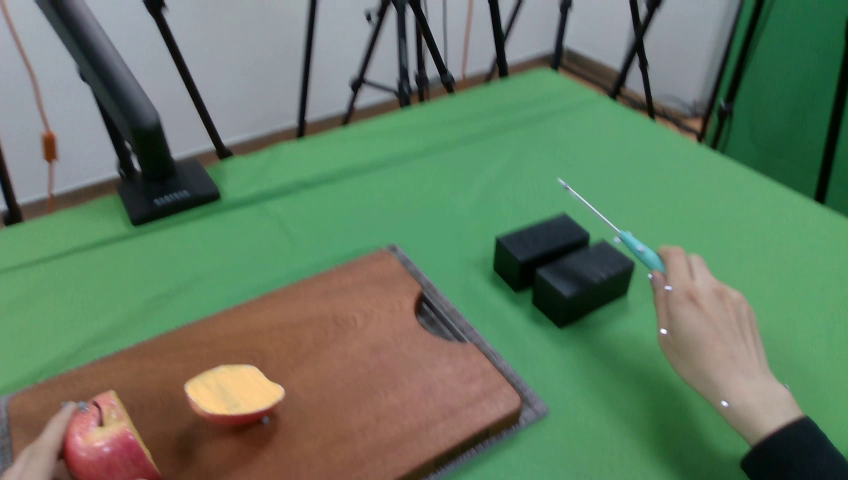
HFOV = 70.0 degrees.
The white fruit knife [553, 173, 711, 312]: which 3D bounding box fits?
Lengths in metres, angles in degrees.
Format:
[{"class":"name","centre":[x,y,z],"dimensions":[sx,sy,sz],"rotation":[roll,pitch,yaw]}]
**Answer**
[{"class":"white fruit knife","centre":[0.199,-0.005,0.603],"dimensions":[0.016,0.028,0.205],"rotation":[-47,60,7]}]

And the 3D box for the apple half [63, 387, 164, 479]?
[{"class":"apple half","centre":[-0.246,0.164,0.472],"dimensions":[0.053,0.075,0.080],"rotation":[-33,51,-27]}]

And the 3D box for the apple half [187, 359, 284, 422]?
[{"class":"apple half","centre":[-0.167,0.138,0.527],"dimensions":[0.081,0.033,0.081],"rotation":[11,19,-3]}]
